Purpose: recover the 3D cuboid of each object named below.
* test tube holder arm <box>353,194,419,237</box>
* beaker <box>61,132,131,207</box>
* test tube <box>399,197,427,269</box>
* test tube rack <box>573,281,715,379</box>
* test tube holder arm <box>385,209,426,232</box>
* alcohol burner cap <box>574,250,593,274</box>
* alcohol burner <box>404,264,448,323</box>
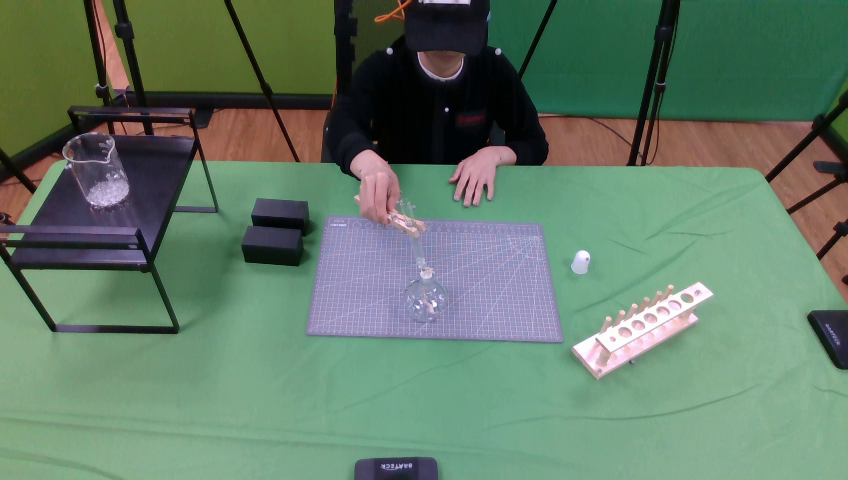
[{"bbox_3d":[-0.064,-0.042,0.965,0.013,0.015,0.177,-35,38,-23],"label":"test tube holder arm"},{"bbox_3d":[-0.512,-0.107,0.959,0.083,0.101,0.074,29,51,22],"label":"beaker"},{"bbox_3d":[-0.016,-0.007,0.933,0.017,0.151,0.017,-7,45,7],"label":"test tube"},{"bbox_3d":[0.378,0.140,1.038,0.242,0.085,0.066,-22,51,-23],"label":"test tube rack"},{"bbox_3d":[-0.032,-0.031,0.936,0.087,0.015,0.010,20,50,42],"label":"test tube holder arm"},{"bbox_3d":[0.308,0.039,1.163,0.034,0.048,0.033,1,46,-1],"label":"alcohol burner cap"},{"bbox_3d":[0.003,0.087,1.042,0.078,0.120,0.077,1,45,0],"label":"alcohol burner"}]
